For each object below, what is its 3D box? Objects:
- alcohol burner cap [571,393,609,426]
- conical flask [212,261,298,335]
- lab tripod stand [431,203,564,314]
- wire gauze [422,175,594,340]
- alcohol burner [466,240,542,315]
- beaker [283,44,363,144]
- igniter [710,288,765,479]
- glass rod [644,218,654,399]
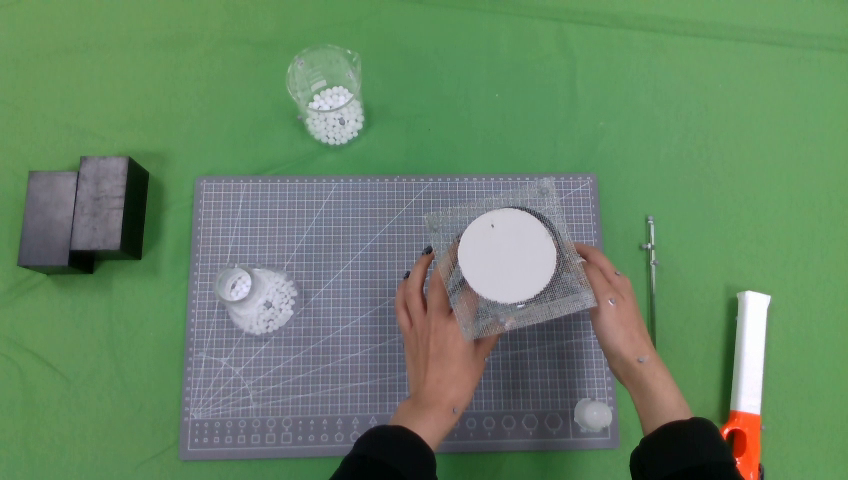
[{"bbox_3d":[0.172,0.174,0.616,0.034,0.048,0.033,1,78,-2],"label":"alcohol burner cap"},{"bbox_3d":[-0.169,0.051,0.589,0.075,0.122,0.075,0,77,-2],"label":"conical flask"},{"bbox_3d":[0.075,0.027,0.598,0.148,0.132,0.148,0,80,-1],"label":"lab tripod stand"},{"bbox_3d":[0.073,0.014,0.532,0.125,0.011,0.121,-16,80,-4],"label":"wire gauze"},{"bbox_3d":[0.083,0.035,0.606,0.078,0.119,0.077,1,77,-3],"label":"alcohol burner"},{"bbox_3d":[-0.102,-0.153,0.650,0.084,0.100,0.074,-41,82,-10],"label":"beaker"},{"bbox_3d":[0.328,0.187,0.630,0.057,0.025,0.275,13,78,-10],"label":"igniter"},{"bbox_3d":[0.245,0.072,0.661,0.008,0.008,0.199,4,77,-1],"label":"glass rod"}]
